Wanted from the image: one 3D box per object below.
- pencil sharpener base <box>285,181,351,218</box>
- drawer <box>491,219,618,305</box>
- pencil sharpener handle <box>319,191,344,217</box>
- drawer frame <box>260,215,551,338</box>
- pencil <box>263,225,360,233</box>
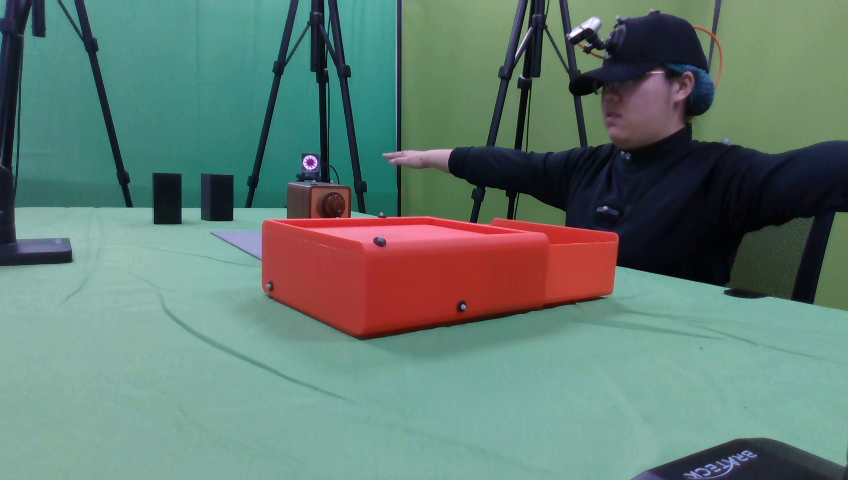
[{"bbox_3d":[-0.139,-0.021,0.789,0.062,0.107,0.076,-2,9,-36],"label":"pencil sharpener base"},{"bbox_3d":[0.071,0.021,0.670,0.213,0.073,0.193,-3,10,-39],"label":"drawer"},{"bbox_3d":[-0.107,-0.026,0.748,0.036,0.067,0.030,-6,11,-36],"label":"pencil sharpener handle"},{"bbox_3d":[-0.021,0.023,0.595,0.215,0.082,0.200,-4,10,-38],"label":"drawer frame"},{"bbox_3d":[-0.212,-0.021,1.157,0.195,0.012,0.012,-3,9,-32],"label":"pencil"}]
